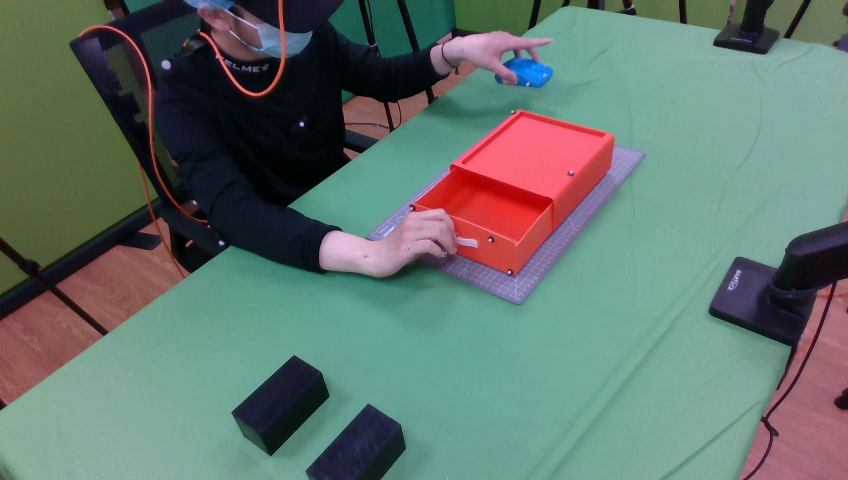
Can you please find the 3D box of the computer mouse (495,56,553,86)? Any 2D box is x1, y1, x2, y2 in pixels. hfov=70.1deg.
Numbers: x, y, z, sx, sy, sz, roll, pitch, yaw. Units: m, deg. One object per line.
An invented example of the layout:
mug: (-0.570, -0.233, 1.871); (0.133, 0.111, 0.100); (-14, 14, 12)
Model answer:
computer mouse: (0.207, -0.351, 1.253); (0.116, 0.041, 0.063); (20, 51, 30)

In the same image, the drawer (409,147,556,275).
drawer: (0.116, -0.059, 0.973); (0.193, 0.073, 0.212); (22, 49, 31)

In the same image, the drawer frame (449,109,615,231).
drawer frame: (0.185, -0.126, 1.037); (0.200, 0.083, 0.214); (22, 48, 31)
